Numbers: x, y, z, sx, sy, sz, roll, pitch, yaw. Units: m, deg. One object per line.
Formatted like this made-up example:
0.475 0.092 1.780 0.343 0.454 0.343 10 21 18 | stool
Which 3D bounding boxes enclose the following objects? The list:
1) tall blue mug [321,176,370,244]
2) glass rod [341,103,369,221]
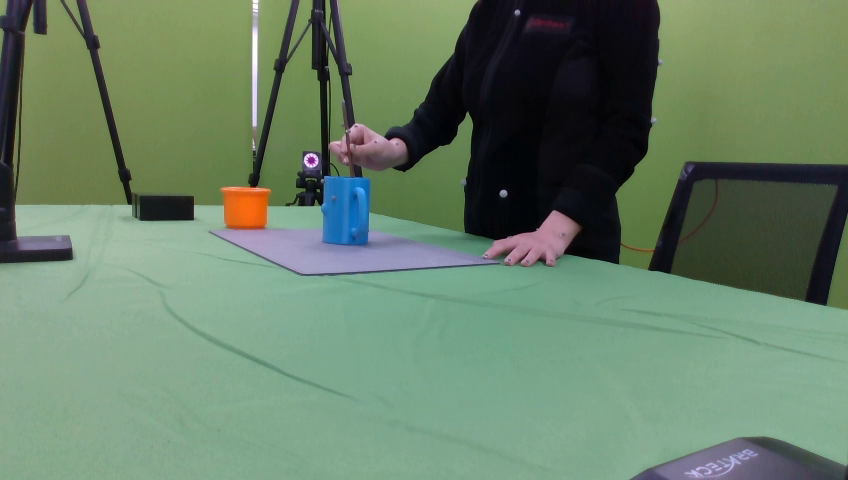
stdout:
-0.116 -0.049 0.990 0.106 0.108 0.078 7 8 33 | tall blue mug
-0.114 -0.129 0.993 0.008 0.199 0.008 -12 -3 0 | glass rod
